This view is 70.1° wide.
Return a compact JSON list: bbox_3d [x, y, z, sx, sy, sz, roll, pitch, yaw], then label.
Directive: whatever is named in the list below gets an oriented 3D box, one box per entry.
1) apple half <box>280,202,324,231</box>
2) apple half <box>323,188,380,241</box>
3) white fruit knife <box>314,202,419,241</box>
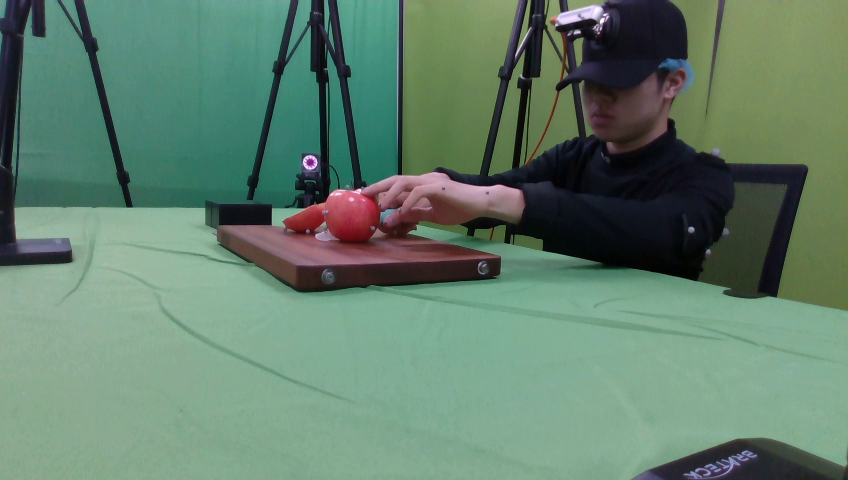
[{"bbox_3d":[-0.175,-0.033,0.927,0.081,0.033,0.081,-21,0,0],"label":"apple half"},{"bbox_3d":[-0.094,-0.034,0.840,0.053,0.074,0.081,18,13,43],"label":"apple half"},{"bbox_3d":[-0.081,-0.028,0.899,0.016,0.027,0.208,13,22,39],"label":"white fruit knife"}]
